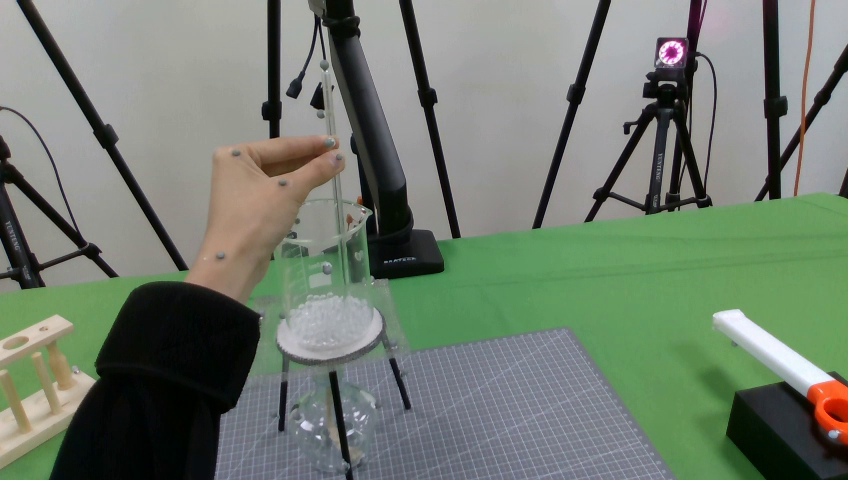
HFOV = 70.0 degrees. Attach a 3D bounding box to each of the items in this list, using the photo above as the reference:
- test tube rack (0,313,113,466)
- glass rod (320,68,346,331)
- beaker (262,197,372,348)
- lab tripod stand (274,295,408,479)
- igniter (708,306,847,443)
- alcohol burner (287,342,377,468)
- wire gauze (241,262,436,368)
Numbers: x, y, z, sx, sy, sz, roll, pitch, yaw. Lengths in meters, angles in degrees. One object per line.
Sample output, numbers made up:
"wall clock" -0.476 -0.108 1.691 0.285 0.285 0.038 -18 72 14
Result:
"test tube rack" -0.422 0.167 0.543 0.066 0.086 0.242 16 32 32
"glass rod" -0.067 -0.024 0.450 0.008 0.200 0.008 -1 17 1
"beaker" -0.077 0.025 0.472 0.084 0.101 0.073 -18 32 -28
"lab tripod stand" -0.072 0.128 0.523 0.148 0.132 0.147 -1 28 1
"igniter" 0.332 0.128 0.498 0.057 0.025 0.274 -9 24 -10
"alcohol burner" -0.081 0.138 0.526 0.078 0.120 0.077 -1 27 1
"wire gauze" -0.072 0.057 0.482 0.125 0.011 0.120 -14 26 -29
